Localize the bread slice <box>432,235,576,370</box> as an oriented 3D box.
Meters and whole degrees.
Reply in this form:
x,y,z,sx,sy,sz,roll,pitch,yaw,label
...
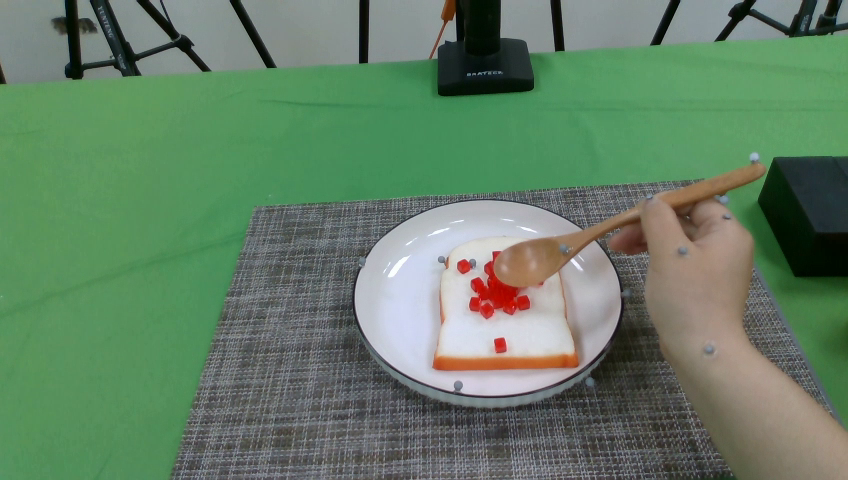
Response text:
x,y,z,sx,sy,sz,roll,pitch,yaw,label
0.060,0.046,0.483,0.105,0.019,0.130,-1,44,4,bread slice

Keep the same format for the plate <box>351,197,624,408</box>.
x,y,z,sx,sy,sz,roll,pitch,yaw,label
0.048,0.045,0.482,0.209,0.038,0.207,-3,44,3,plate

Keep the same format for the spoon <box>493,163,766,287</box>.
x,y,z,sx,sy,sz,roll,pitch,yaw,label
0.136,-0.010,0.424,0.193,0.022,0.041,-26,46,28,spoon
